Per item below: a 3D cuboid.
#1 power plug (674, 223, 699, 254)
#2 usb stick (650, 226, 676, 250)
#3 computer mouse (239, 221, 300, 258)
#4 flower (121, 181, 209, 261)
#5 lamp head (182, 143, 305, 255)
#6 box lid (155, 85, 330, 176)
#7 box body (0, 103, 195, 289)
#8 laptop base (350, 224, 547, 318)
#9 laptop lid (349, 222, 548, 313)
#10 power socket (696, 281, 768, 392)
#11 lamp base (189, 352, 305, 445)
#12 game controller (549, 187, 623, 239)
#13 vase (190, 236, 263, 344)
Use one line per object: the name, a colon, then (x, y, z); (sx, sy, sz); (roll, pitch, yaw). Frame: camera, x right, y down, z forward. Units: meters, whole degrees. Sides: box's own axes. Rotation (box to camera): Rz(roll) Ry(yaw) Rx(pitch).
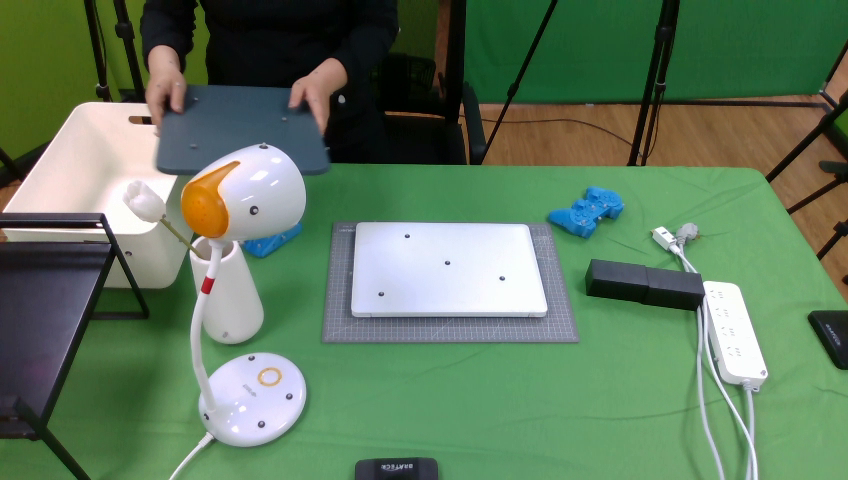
power plug: (0.537, 0.000, 1.244); (0.053, 0.035, 0.072); (20, 83, -18)
usb stick: (0.485, -0.008, 1.237); (0.021, 0.027, 0.059); (-22, 44, -13)
computer mouse: (-0.300, -0.016, 1.178); (0.062, 0.041, 0.117); (35, 57, 22)
flower: (-0.329, 0.029, 0.905); (0.038, 0.364, 0.044); (-22, 58, -1)
lamp head: (-0.216, -0.044, 0.697); (0.112, 0.113, 0.123); (23, 31, 17)
box lid: (-0.317, -0.199, 1.063); (0.264, 0.015, 0.369); (-3, 34, -17)
box body: (-0.563, -0.087, 1.139); (0.254, 0.161, 0.361); (2, 46, -3)
laptop base: (0.041, 0.056, 1.148); (0.355, 0.023, 0.234); (0, 42, -4)
laptop lid: (0.042, 0.046, 1.142); (0.357, 0.013, 0.240); (2, 44, -3)
power socket: (0.543, 0.161, 1.077); (0.072, 0.033, 0.225); (6, 46, 2)
lamp base: (-0.268, 0.196, 0.876); (0.160, 0.181, 0.179); (25, 52, 20)
game controller: (0.346, -0.065, 1.272); (0.155, 0.052, 0.096); (-31, 58, -28)
vase: (-0.317, 0.081, 0.971); (0.098, 0.201, 0.097); (3, 47, -3)
